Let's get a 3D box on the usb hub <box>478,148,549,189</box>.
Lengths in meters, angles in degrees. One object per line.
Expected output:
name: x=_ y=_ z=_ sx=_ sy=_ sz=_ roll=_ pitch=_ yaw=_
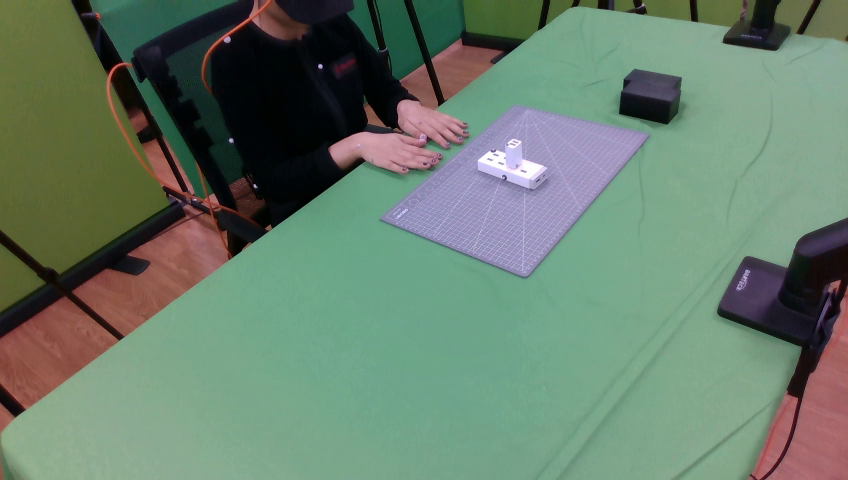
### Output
usb hub: x=0.161 y=-0.131 z=1.099 sx=0.124 sy=0.025 sz=0.049 roll=26 pitch=51 yaw=34

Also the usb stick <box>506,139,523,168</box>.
usb stick: x=0.160 y=-0.148 z=1.074 sx=0.021 sy=0.059 sz=0.027 roll=24 pitch=48 yaw=33
